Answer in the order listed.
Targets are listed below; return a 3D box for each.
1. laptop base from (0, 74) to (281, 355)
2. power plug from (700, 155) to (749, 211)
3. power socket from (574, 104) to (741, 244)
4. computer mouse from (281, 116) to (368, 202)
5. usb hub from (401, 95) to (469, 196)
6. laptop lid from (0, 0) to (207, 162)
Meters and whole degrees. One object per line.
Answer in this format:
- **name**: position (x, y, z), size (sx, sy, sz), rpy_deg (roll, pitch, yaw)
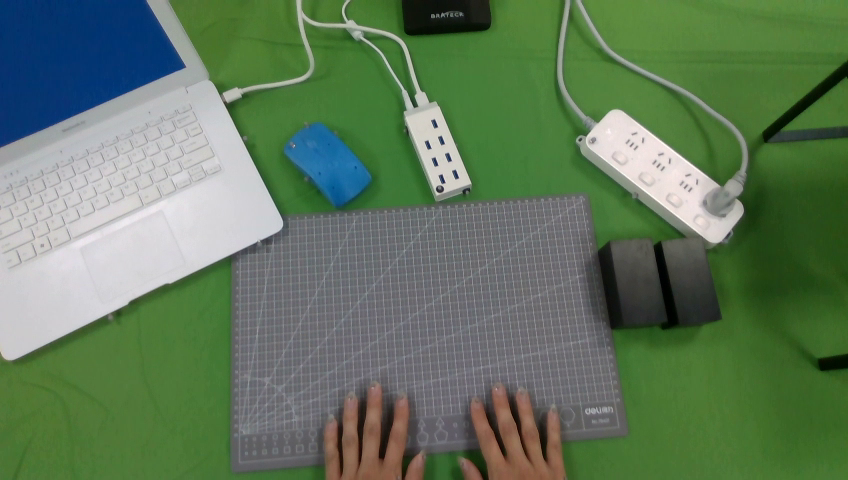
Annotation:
- **laptop base**: position (-0.381, -0.041, 0.747), size (0.354, 0.023, 0.234), rpy_deg (-27, 80, -8)
- **power plug**: position (0.372, -0.063, 0.743), size (0.072, 0.053, 0.035), rpy_deg (-35, 77, -12)
- **power socket**: position (0.296, -0.085, 0.767), size (0.226, 0.033, 0.072), rpy_deg (41, 77, 10)
- **computer mouse**: position (-0.126, -0.105, 0.760), size (0.063, 0.041, 0.116), rpy_deg (-40, 75, -10)
- **usb hub**: position (0.013, -0.121, 0.774), size (0.049, 0.025, 0.124), rpy_deg (-20, 76, -6)
- **laptop lid**: position (-0.449, -0.199, 0.670), size (0.357, 0.244, 0.013), rpy_deg (-28, 61, -7)
